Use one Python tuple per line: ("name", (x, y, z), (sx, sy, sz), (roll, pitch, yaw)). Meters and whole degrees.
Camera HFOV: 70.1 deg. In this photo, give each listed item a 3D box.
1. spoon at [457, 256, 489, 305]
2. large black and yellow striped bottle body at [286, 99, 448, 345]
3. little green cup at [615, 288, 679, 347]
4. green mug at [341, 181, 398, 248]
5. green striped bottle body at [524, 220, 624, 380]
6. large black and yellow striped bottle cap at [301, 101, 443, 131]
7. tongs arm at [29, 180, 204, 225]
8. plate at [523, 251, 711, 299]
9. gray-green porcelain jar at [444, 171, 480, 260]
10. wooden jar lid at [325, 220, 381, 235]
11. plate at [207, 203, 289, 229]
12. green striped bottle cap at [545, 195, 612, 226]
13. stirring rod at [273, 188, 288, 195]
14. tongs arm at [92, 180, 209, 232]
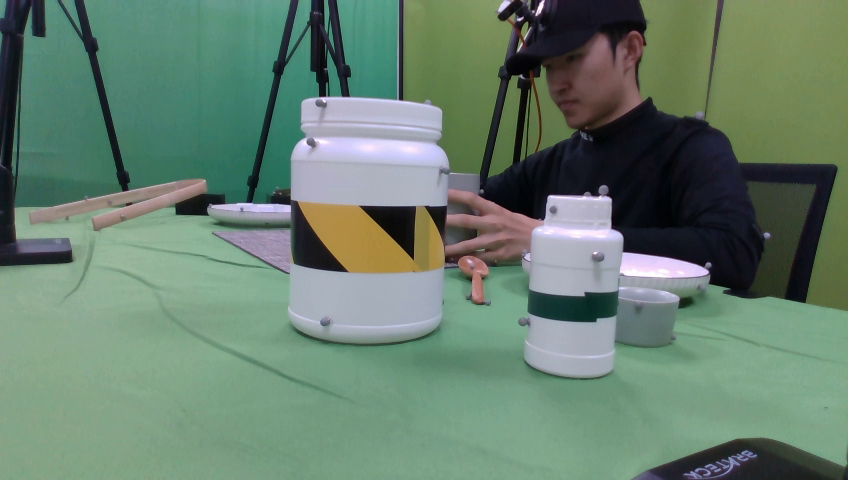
("spoon", (0.059, 0.044, 0.696), (0.041, 0.021, 0.194), (20, 7, 0))
("large black and yellow striped bottle body", (-0.047, -0.018, 0.501), (0.131, 0.184, 0.130), (2, 7, 0))
("little green cup", (0.180, 0.064, 0.506), (0.061, 0.038, 0.061), (2, 7, 0))
("green mug", (-0.090, -0.044, 0.996), (0.093, 0.105, 0.125), (0, 7, -9))
("green striped bottle body", (0.104, 0.031, 0.422), (0.063, 0.119, 0.063), (2, 8, 0))
("large black and yellow striped bottle cap", (-0.042, -0.100, 0.491), (0.115, 0.019, 0.115), (1, 8, 0))
("tongs arm", (-0.609, -0.083, 1.245), (0.050, 0.026, 0.386), (5, 16, 23))
("plate", (0.219, 0.042, 0.706), (0.209, 0.038, 0.209), (2, 7, 0))
("gray-green porcelain jar", (0.029, -0.038, 0.892), (0.106, 0.126, 0.106), (1, 8, 0))
("wooden jar lid", (-0.136, -0.025, 1.162), (0.108, 0.020, 0.108), (3, 9, 0))
("plate", (-0.342, -0.050, 1.259), (0.208, 0.039, 0.207), (2, 7, 0))
("green striped bottle cap", (0.106, -0.020, 0.414), (0.044, 0.020, 0.044), (2, 4, 0))
("stirring rod", (-0.354, -0.122, 1.518), (0.006, 0.014, 0.176), (2, 6, 1))
("tongs arm", (-0.534, -0.076, 1.221), (0.028, 0.028, 0.388), (-2, 15, 12))
